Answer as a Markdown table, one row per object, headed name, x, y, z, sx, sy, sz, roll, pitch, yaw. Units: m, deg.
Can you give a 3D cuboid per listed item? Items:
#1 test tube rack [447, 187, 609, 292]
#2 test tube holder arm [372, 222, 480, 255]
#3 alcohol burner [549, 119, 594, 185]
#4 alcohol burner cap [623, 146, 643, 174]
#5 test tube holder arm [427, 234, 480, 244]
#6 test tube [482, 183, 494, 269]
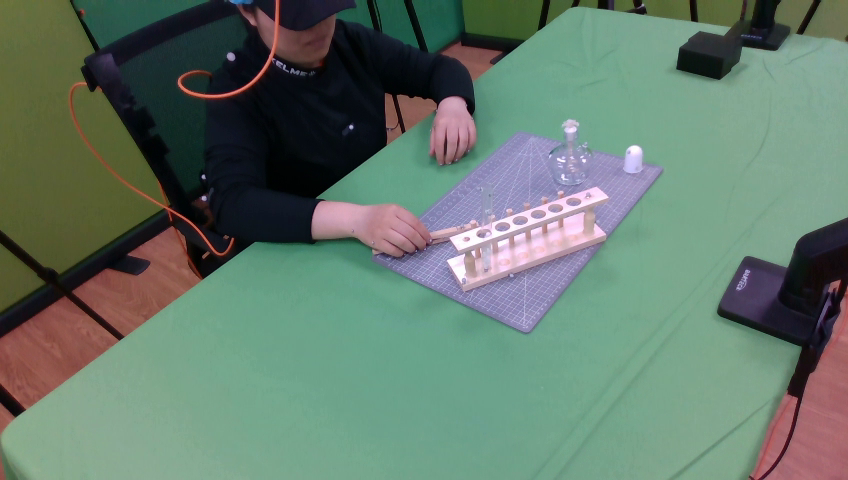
| name | x | y | z | sx | sy | sz | roll | pitch | yaw |
| --- | --- | --- | --- | --- | --- | --- | --- | --- | --- |
| test tube rack | 0.155 | -0.011 | 0.913 | 0.243 | 0.085 | 0.066 | -19 | 41 | -11 |
| test tube holder arm | 0.003 | -0.002 | 0.982 | 0.178 | 0.013 | 0.015 | -12 | 33 | -1 |
| alcohol burner | 0.254 | -0.155 | 1.043 | 0.078 | 0.120 | 0.077 | -7 | 40 | 6 |
| alcohol burner cap | 0.369 | -0.143 | 1.061 | 0.034 | 0.048 | 0.033 | -7 | 41 | 6 |
| test tube holder arm | 0.048 | -0.006 | 0.987 | 0.088 | 0.010 | 0.015 | -8 | 33 | -4 |
| test tube | 0.090 | -0.016 | 0.854 | 0.017 | 0.151 | 0.017 | -2 | 39 | 2 |
